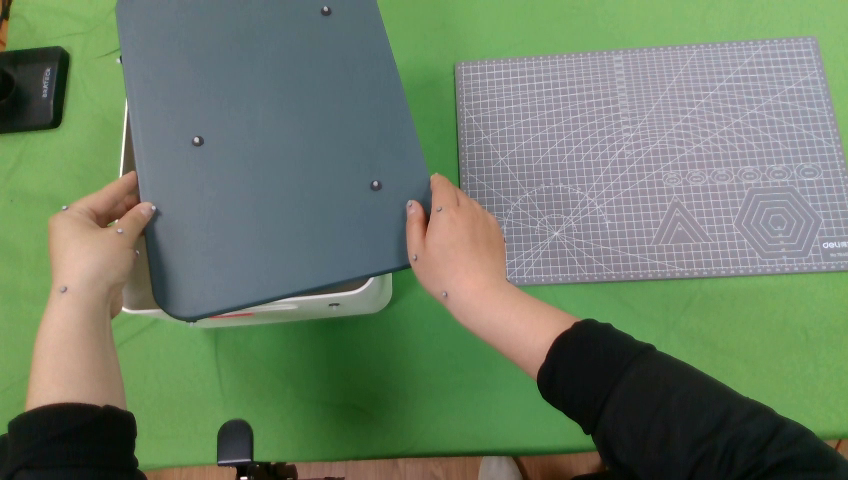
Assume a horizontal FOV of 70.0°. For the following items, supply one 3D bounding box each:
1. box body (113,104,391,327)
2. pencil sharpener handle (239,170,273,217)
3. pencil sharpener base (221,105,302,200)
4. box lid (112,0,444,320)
[{"bbox_3d":[-0.175,-0.091,0.682,0.254,0.161,0.362,-6,74,3],"label":"box body"},{"bbox_3d":[-0.185,-0.051,0.680,0.036,0.068,0.030,-6,73,-5],"label":"pencil sharpener handle"},{"bbox_3d":[-0.187,-0.096,0.706,0.061,0.107,0.076,-8,73,3],"label":"pencil sharpener base"},{"bbox_3d":[-0.149,-0.124,0.590,0.264,0.015,0.369,-14,72,-8],"label":"box lid"}]
